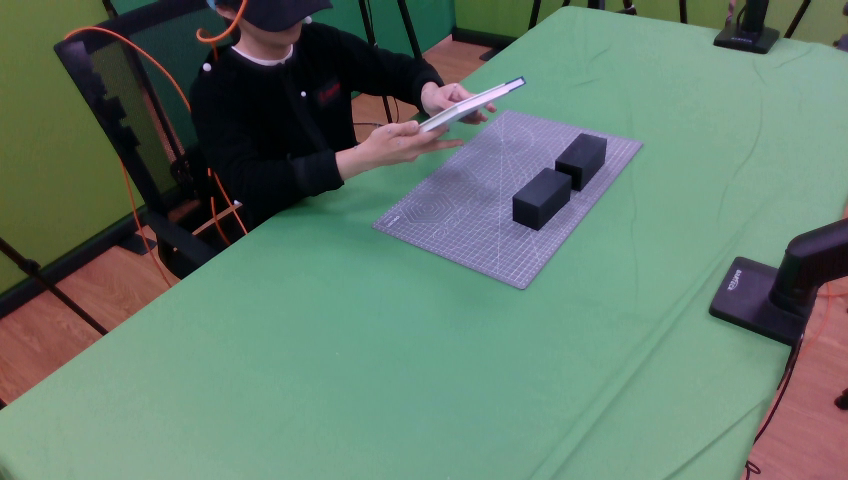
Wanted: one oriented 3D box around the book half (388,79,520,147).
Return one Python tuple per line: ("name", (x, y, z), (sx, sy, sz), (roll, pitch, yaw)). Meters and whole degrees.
("book half", (0.044, -0.204, 0.980), (0.144, 0.007, 0.209), (-29, 8, -32))
